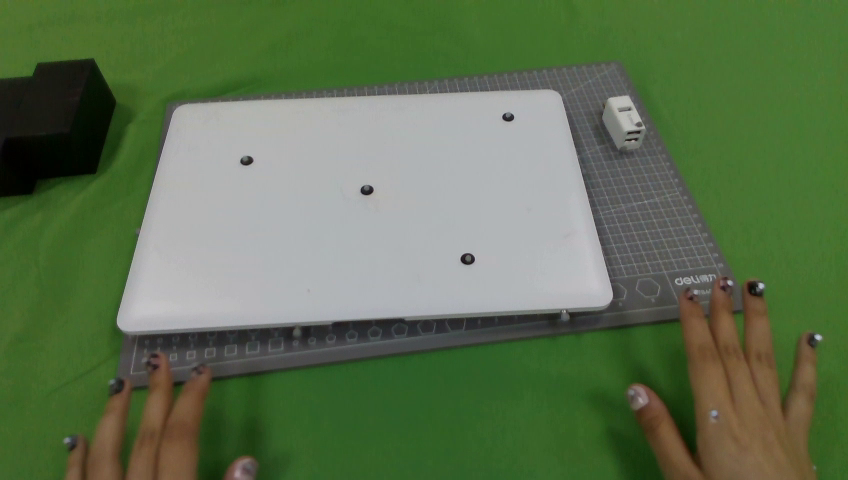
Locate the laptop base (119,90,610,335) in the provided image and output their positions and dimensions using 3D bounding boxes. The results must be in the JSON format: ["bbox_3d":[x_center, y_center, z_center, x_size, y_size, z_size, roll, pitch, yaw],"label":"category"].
[{"bbox_3d":[-0.046,-0.033,0.499,0.354,0.023,0.233,-3,56,-2],"label":"laptop base"}]

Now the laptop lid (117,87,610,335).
[{"bbox_3d":[-0.047,-0.038,0.488,0.357,0.013,0.239,-2,55,0],"label":"laptop lid"}]

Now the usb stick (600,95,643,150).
[{"bbox_3d":[0.175,-0.111,0.547,0.021,0.027,0.058,-8,51,-4],"label":"usb stick"}]
